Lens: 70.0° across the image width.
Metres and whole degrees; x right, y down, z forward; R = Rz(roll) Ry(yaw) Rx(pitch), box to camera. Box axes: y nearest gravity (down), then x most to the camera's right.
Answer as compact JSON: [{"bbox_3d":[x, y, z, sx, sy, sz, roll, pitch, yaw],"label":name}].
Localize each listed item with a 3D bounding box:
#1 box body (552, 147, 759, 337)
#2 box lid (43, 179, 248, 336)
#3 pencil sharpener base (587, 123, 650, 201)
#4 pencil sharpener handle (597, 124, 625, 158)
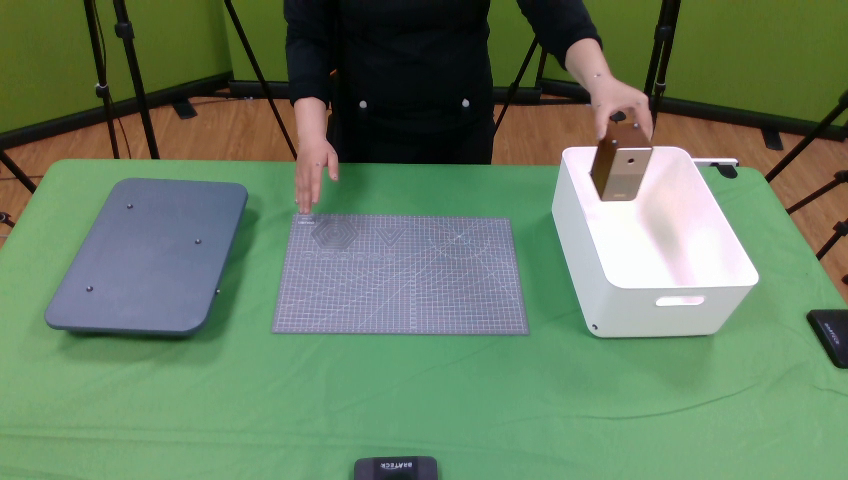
[{"bbox_3d":[0.400,-0.001,1.131,0.254,0.161,0.361,-1,46,-5],"label":"box body"},{"bbox_3d":[-0.484,0.017,1.093,0.263,0.015,0.369,2,46,-2],"label":"box lid"},{"bbox_3d":[0.308,-0.126,0.970,0.061,0.107,0.076,-1,42,-4],"label":"pencil sharpener base"},{"bbox_3d":[0.303,-0.169,0.999,0.036,0.068,0.030,4,42,-8],"label":"pencil sharpener handle"}]
